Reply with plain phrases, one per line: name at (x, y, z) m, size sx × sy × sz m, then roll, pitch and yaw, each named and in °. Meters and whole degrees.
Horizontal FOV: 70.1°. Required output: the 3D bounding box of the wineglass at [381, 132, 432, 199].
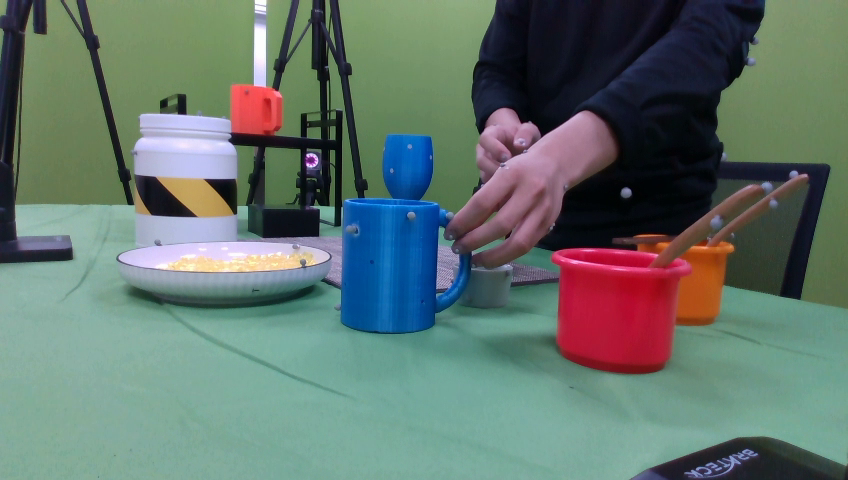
wineglass at (-0.026, -0.062, 0.841) m, size 0.074 × 0.172 × 0.073 m, roll 2°, pitch 7°, yaw 0°

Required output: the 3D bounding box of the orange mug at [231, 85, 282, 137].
orange mug at (-0.335, -0.261, 1.225) m, size 0.125 × 0.100 × 0.084 m, roll 2°, pitch 6°, yaw 35°

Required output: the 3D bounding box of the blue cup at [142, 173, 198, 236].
blue cup at (-0.425, -0.060, 1.014) m, size 0.093 × 0.100 × 0.092 m, roll 4°, pitch 9°, yaw 0°

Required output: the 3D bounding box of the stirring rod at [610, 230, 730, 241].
stirring rod at (0.241, -0.005, 0.582) m, size 0.177 × 0.006 × 0.014 m, roll -3°, pitch 9°, yaw -34°

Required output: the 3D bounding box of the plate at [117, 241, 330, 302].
plate at (-0.203, 0.031, 0.629) m, size 0.209 × 0.038 × 0.209 m, roll 3°, pitch 7°, yaw 0°

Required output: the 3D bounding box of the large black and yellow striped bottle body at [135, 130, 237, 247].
large black and yellow striped bottle body at (-0.327, -0.074, 0.838) m, size 0.131 × 0.184 × 0.130 m, roll 2°, pitch 7°, yaw 0°

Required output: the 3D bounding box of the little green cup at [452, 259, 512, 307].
little green cup at (0.057, 0.043, 0.612) m, size 0.061 × 0.038 × 0.061 m, roll 3°, pitch 8°, yaw 0°

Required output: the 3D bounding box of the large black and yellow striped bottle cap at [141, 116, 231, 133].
large black and yellow striped bottle cap at (-0.324, -0.157, 0.826) m, size 0.115 × 0.019 × 0.115 m, roll 1°, pitch 7°, yaw 0°

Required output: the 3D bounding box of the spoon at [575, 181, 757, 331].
spoon at (0.156, 0.019, 0.412) m, size 0.042 × 0.021 × 0.193 m, roll 1°, pitch -36°, yaw -16°

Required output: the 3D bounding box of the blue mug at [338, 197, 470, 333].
blue mug at (-0.016, 0.018, 0.523) m, size 0.117 × 0.106 × 0.082 m, roll 1°, pitch 7°, yaw -14°

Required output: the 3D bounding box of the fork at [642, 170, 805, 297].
fork at (0.261, 0.004, 0.545) m, size 0.028 × 0.018 × 0.207 m, roll 5°, pitch -37°, yaw -16°
